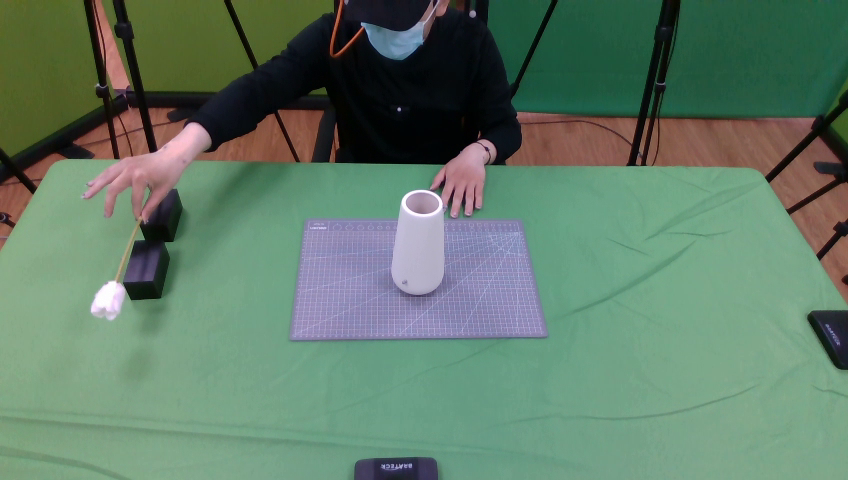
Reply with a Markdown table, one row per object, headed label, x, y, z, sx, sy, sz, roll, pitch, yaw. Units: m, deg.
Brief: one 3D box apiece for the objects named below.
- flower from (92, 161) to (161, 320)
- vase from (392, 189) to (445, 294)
| label | x | y | z | sx | sy | sz | roll | pitch | yaw |
| --- | --- | --- | --- | --- | --- | --- | --- | --- | --- |
| flower | -0.503 | -0.017 | 1.055 | 0.044 | 0.038 | 0.359 | -10 | 48 | 7 |
| vase | -0.007 | 0.006 | 1.060 | 0.098 | 0.201 | 0.097 | 2 | 48 | -2 |
